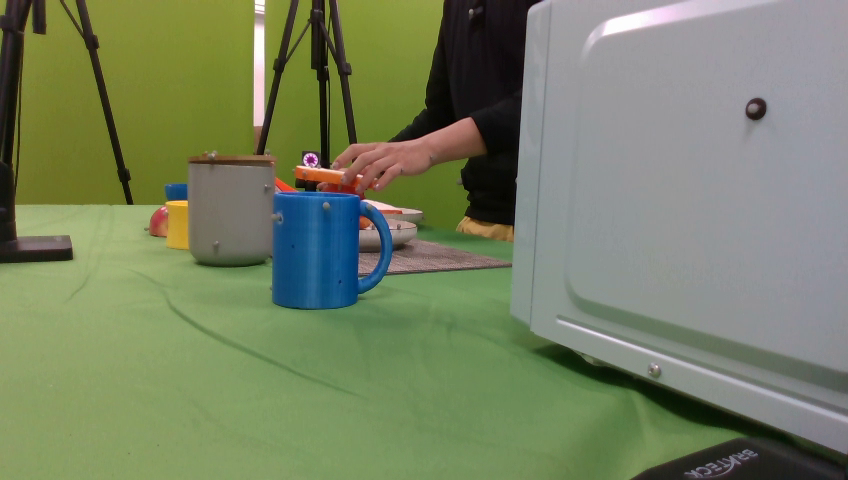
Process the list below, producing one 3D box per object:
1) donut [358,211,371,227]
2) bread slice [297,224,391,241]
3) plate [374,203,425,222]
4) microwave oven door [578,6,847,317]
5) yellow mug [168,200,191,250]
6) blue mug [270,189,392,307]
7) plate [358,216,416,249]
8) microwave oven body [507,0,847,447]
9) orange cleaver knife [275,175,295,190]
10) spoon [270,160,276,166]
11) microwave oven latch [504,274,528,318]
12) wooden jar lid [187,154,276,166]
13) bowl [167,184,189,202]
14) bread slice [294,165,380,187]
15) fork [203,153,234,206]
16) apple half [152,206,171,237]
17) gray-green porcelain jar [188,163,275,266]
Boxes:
[{"bbox_3d":[-0.129,-0.041,0.957,0.099,0.048,0.099,3,7,0],"label":"donut"},{"bbox_3d":[-0.121,-0.013,0.970,0.106,0.018,0.135,7,8,41],"label":"bread slice"},{"bbox_3d":[-0.102,-0.053,1.299,0.209,0.038,0.209,2,8,0],"label":"plate"},{"bbox_3d":[0.294,-0.067,0.570,0.358,0.243,0.039,-3,9,-31],"label":"microwave oven door"},{"bbox_3d":[-0.320,-0.023,0.904,0.130,0.064,0.100,8,10,36],"label":"yellow mug"},{"bbox_3d":[-0.089,0.005,0.588,0.117,0.106,0.082,1,7,-10],"label":"blue mug"},{"bbox_3d":[-0.116,-0.014,0.967,0.208,0.039,0.207,2,7,0],"label":"plate"},{"bbox_3d":[0.331,-0.042,0.425,0.444,0.260,0.324,-2,8,-31],"label":"microwave oven body"},{"bbox_3d":[-0.283,-0.087,1.343,0.212,0.077,0.012,24,-16,-41],"label":"orange cleaver knife"},{"bbox_3d":[-0.396,-0.150,1.548,0.042,0.193,0.021,3,-37,-4],"label":"spoon"},{"bbox_3d":[0.100,0.041,0.471,0.079,0.029,0.030,-1,8,-28],"label":"microwave oven latch"},{"bbox_3d":[-0.244,-0.097,0.771,0.108,0.020,0.108,-1,7,0],"label":"wooden jar lid"},{"bbox_3d":[-0.408,-0.064,1.154,0.151,0.077,0.151,2,8,0],"label":"bowl"},{"bbox_3d":[-0.137,-0.102,0.949,0.132,0.019,0.105,8,7,-2],"label":"bread slice"},{"bbox_3d":[-0.480,-0.136,1.411,0.028,0.018,0.207,0,-34,-1],"label":"fork"},{"bbox_3d":[-0.415,-0.034,1.017,0.081,0.053,0.074,1,10,-9],"label":"apple half"},{"bbox_3d":[-0.246,-0.034,0.780,0.106,0.126,0.106,2,7,0],"label":"gray-green porcelain jar"}]
